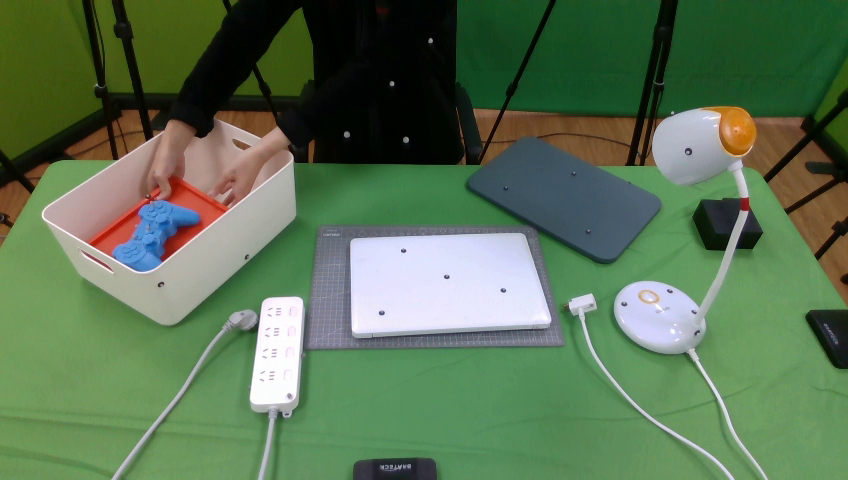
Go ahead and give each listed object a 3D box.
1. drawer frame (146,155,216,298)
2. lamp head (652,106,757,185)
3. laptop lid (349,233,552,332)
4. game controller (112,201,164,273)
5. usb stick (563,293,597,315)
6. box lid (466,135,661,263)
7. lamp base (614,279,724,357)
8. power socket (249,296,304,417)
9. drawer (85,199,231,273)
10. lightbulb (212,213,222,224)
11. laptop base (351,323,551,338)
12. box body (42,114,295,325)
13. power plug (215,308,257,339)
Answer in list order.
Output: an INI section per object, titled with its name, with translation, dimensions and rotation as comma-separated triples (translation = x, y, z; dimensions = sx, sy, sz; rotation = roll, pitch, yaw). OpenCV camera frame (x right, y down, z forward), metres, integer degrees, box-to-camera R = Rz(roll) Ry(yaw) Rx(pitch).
[drawer frame]
translation = -0.427, -0.032, 1.059
dimensions = 0.083, 0.214, 0.200
rotation = -7, 17, -29
[lamp head]
translation = 0.410, -0.139, 0.868
dimensions = 0.113, 0.122, 0.112
rotation = 0, 89, -19
[laptop lid]
translation = 0.040, 0.070, 1.119
dimensions = 0.357, 0.013, 0.240
rotation = -1, 44, -5
[game controller]
translation = -0.460, -0.006, 1.037
dimensions = 0.097, 0.052, 0.154
rotation = 8, 50, 7
[usb stick]
translation = 0.280, 0.118, 1.092
dimensions = 0.059, 0.021, 0.027
rotation = -18, 34, 25
[box lid]
translation = 0.306, -0.102, 1.327
dimensions = 0.370, 0.015, 0.263
rotation = 32, 52, 25
[lamp base]
translation = 0.436, 0.090, 1.035
dimensions = 0.161, 0.181, 0.178
rotation = -23, 55, -23
[power socket]
translation = -0.239, 0.182, 0.996
dimensions = 0.072, 0.033, 0.225
rotation = -2, 47, -5
[drawer]
translation = -0.450, 0.002, 1.090
dimensions = 0.194, 0.073, 0.211
rotation = 29, 49, 19
[lightbulb]
translation = -0.396, 0.000, 1.109
dimensions = 0.059, 0.060, 0.107
rotation = 10, 63, 5
[laptop base]
translation = 0.039, 0.080, 1.125
dimensions = 0.355, 0.023, 0.234
rotation = -2, 43, -6
[box body]
translation = -0.437, -0.046, 1.110
dimensions = 0.253, 0.161, 0.363
rotation = 24, 49, 19
[power plug]
translation = -0.317, 0.143, 1.024
dimensions = 0.072, 0.053, 0.035
rotation = -32, 58, -9
